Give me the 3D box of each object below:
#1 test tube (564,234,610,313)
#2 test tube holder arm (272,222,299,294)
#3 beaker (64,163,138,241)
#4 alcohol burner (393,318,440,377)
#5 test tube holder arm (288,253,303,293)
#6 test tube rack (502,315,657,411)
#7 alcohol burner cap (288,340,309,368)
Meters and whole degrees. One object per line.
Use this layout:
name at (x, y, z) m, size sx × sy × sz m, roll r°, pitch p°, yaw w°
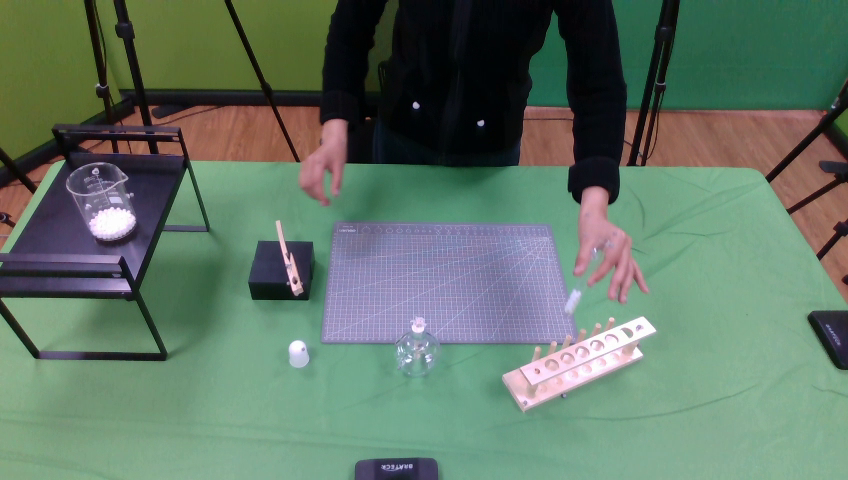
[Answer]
test tube at (0.234, 0.052, 0.877) m, size 0.017 × 0.151 × 0.017 m, roll 9°, pitch 39°, yaw -7°
test tube holder arm at (-0.249, 0.029, 1.086) m, size 0.013 × 0.015 × 0.177 m, roll -17°, pitch 48°, yaw -16°
beaker at (-0.477, -0.055, 0.910) m, size 0.084 × 0.101 × 0.073 m, roll -9°, pitch 48°, yaw -13°
alcohol burner at (-0.011, 0.167, 0.971) m, size 0.078 × 0.120 × 0.077 m, roll 1°, pitch 45°, yaw -1°
test tube holder arm at (-0.227, 0.057, 1.059) m, size 0.010 × 0.015 × 0.087 m, roll -16°, pitch 48°, yaw -15°
test tube rack at (0.253, 0.186, 0.988) m, size 0.242 × 0.085 × 0.066 m, roll -18°, pitch 50°, yaw -20°
alcohol burner cap at (-0.206, 0.183, 0.991) m, size 0.034 × 0.048 × 0.033 m, roll 3°, pitch 47°, yaw -2°
